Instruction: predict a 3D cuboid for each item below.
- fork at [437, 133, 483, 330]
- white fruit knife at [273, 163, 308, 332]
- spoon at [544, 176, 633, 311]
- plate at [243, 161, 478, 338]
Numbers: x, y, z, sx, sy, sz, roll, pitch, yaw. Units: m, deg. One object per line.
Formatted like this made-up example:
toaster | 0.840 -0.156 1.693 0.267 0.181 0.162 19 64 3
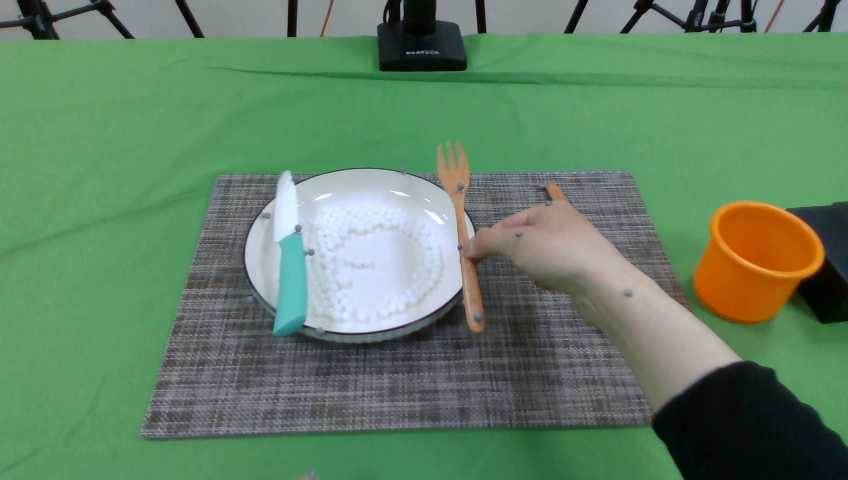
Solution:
fork | 0.030 -0.016 0.498 0.028 0.019 0.205 -7 49 3
white fruit knife | -0.119 -0.005 0.530 0.027 0.016 0.205 -9 46 -6
spoon | 0.150 -0.004 0.582 0.041 0.022 0.191 -18 47 5
plate | -0.055 0.006 0.552 0.209 0.038 0.207 1 46 -1
